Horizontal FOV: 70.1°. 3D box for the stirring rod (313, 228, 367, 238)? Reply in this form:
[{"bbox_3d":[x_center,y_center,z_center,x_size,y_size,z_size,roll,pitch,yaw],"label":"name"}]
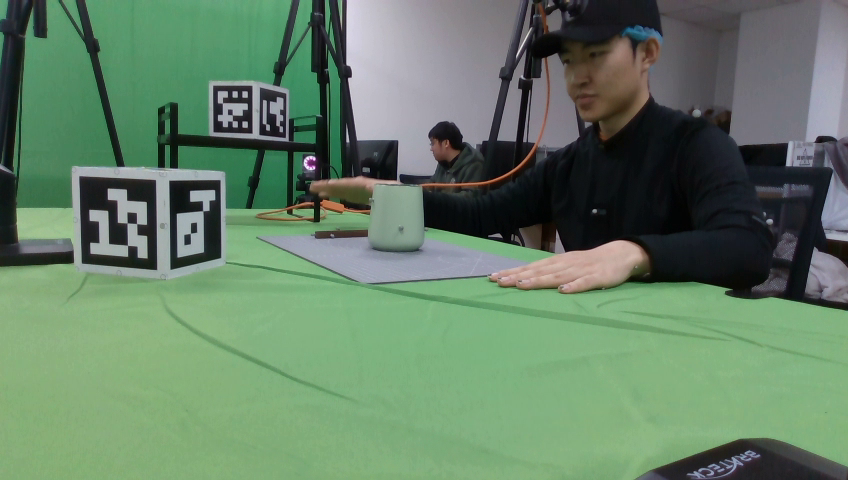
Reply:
[{"bbox_3d":[-0.123,-0.014,1.115,0.177,0.014,0.006,-3,3,-35],"label":"stirring rod"}]

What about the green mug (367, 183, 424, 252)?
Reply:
[{"bbox_3d":[-0.053,-0.039,0.990,0.093,0.105,0.124,-1,8,-29],"label":"green mug"}]
